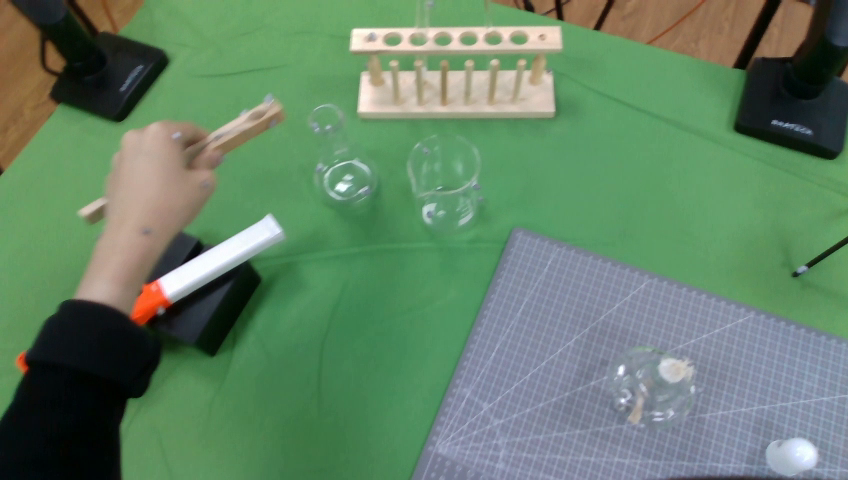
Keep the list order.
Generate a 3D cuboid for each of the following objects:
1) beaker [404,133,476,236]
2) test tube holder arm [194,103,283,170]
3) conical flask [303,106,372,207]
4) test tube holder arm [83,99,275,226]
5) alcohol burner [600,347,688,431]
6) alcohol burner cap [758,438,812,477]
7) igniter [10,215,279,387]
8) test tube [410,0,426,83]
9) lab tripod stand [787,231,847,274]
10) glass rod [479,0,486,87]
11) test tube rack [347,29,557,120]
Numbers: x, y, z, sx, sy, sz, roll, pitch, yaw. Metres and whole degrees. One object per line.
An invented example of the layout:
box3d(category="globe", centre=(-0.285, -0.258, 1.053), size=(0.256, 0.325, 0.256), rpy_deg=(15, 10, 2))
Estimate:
box3d(category="beaker", centre=(0.016, -0.053, 0.655), size=(0.073, 0.101, 0.084), rpy_deg=(34, 71, 19))
box3d(category="test tube holder arm", centre=(-0.159, -0.089, 0.519), size=(0.088, 0.015, 0.010), rpy_deg=(-37, 66, -20))
box3d(category="conical flask", centre=(-0.101, -0.095, 0.668), size=(0.075, 0.123, 0.074), rpy_deg=(-1, 63, 3))
box3d(category="test tube holder arm", centre=(-0.197, -0.067, 0.505), size=(0.178, 0.015, 0.013), rpy_deg=(-37, 66, -20))
box3d(category="alcohol burner", centre=(0.202, 0.129, 0.545), size=(0.078, 0.120, 0.077), rpy_deg=(0, 63, 1))
box3d(category="alcohol burner cap", centre=(0.329, 0.194, 0.547), size=(0.034, 0.048, 0.033), rpy_deg=(-1, 64, 2))
box3d(category="igniter", centre=(-0.272, 0.059, 0.601), size=(0.276, 0.025, 0.056), rpy_deg=(-33, 57, -13))
box3d(category="test tube", centre=(-0.007, -0.235, 0.698), size=(0.017, 0.151, 0.017), rpy_deg=(1, 63, -2))
box3d(category="lab tripod stand", centre=(0.457, -0.006, 0.590), size=(0.148, 0.132, 0.147), rpy_deg=(0, 63, 1))
box3d(category="glass rod", centre=(0.065, -0.250, 0.682), size=(0.008, 0.201, 0.008), rpy_deg=(-3, 56, 5))
box3d(category="test tube rack", centre=(0.033, -0.198, 0.733), size=(0.242, 0.086, 0.066), rpy_deg=(0, 64, 3))
